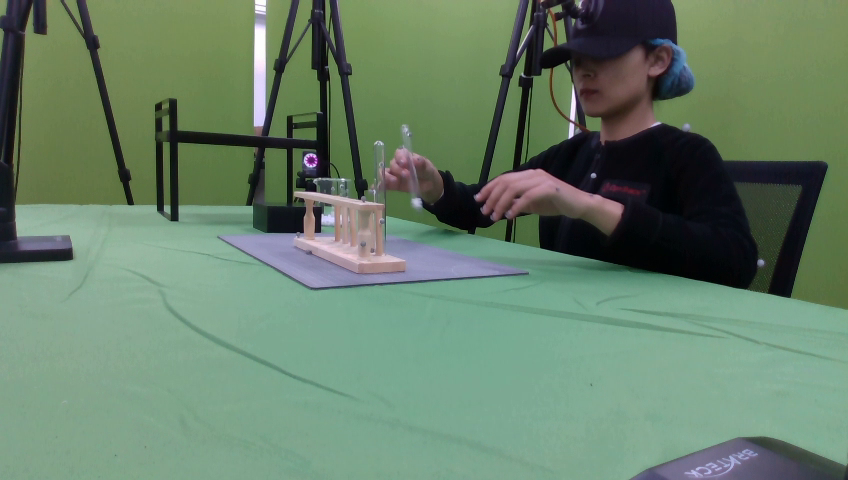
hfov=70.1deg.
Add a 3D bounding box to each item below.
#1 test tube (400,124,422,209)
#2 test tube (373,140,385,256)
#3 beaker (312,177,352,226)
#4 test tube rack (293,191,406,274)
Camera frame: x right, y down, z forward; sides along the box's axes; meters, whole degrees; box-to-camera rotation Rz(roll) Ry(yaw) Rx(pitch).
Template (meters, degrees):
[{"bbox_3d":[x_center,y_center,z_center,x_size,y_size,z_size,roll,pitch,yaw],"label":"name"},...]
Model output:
[{"bbox_3d":[-0.022,-0.124,1.019,0.017,0.150,0.017,-10,-11,-2],"label":"test tube"},{"bbox_3d":[-0.058,-0.053,0.781,0.017,0.150,0.017,0,5,0],"label":"test tube"},{"bbox_3d":[-0.194,-0.081,1.266,0.084,0.100,0.073,-3,9,-29],"label":"beaker"},{"bbox_3d":[-0.110,-0.017,0.836,0.067,0.085,0.241,-2,9,-30],"label":"test tube rack"}]
